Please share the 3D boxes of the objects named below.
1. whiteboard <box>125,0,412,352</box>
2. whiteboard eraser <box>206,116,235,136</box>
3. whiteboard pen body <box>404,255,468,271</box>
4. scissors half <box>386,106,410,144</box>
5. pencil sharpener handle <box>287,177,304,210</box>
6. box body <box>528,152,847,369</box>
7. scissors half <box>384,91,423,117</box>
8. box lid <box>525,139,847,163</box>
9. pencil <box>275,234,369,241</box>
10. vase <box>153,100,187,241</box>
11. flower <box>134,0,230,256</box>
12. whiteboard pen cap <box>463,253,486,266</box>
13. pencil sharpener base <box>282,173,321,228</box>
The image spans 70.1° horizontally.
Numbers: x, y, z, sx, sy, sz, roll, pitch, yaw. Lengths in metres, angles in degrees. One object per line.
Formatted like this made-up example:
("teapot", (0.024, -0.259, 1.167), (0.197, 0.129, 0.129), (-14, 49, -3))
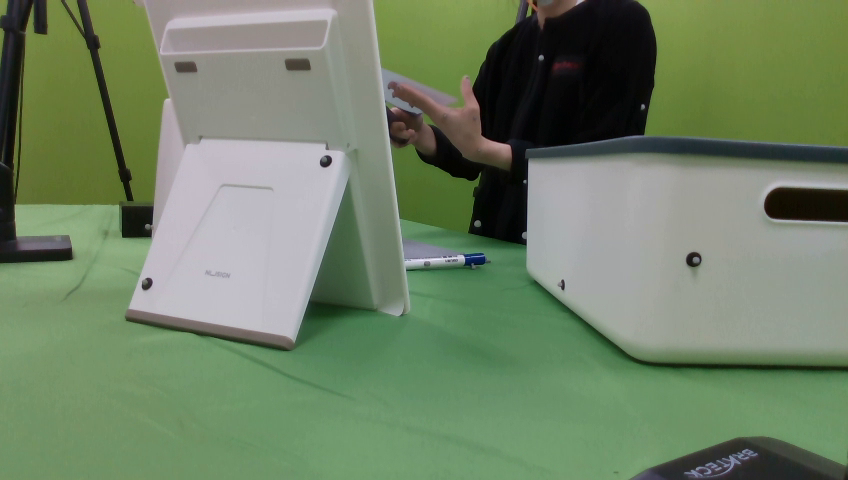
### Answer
("whiteboard", (-0.151, -0.049, 0.472), (0.216, 0.305, 0.144), (6, 27, 24))
("whiteboard eraser", (-0.450, -0.252, 1.335), (0.056, 0.042, 0.112), (1, 7, -22))
("whiteboard pen body", (0.012, 0.030, 0.792), (0.141, 0.017, 0.017), (-3, 9, -24))
("scissors half", (-0.075, -0.230, 1.045), (0.012, 0.040, 0.176), (19, -26, 45))
("pencil sharpener handle", (-0.269, -0.096, 1.257), (0.036, 0.067, 0.030), (-9, 8, -27))
("box body", (0.258, -0.005, 0.591), (0.254, 0.160, 0.363), (2, 7, -4))
("scissors half", (-0.065, -0.251, 1.048), (0.013, 0.040, 0.176), (13, 4, 44))
("box lid", (0.261, -0.078, 0.580), (0.264, 0.015, 0.371), (2, 7, -4))
("pencil", (-0.169, -0.006, 1.036), (0.195, 0.012, 0.012), (-2, 9, -45))
("vase", (-0.278, -0.066, 0.736), (0.098, 0.200, 0.098), (2, 9, 0))
("flower", (-0.282, -0.147, 0.713), (0.038, 0.362, 0.044), (-23, 24, -31))
("whiteboard pen cap", (0.066, 0.027, 0.818), (0.033, 0.018, 0.018), (-5, 10, -24))
("pencil sharpener base", (-0.247, -0.080, 1.212), (0.061, 0.107, 0.076), (-2, 5, -28))
